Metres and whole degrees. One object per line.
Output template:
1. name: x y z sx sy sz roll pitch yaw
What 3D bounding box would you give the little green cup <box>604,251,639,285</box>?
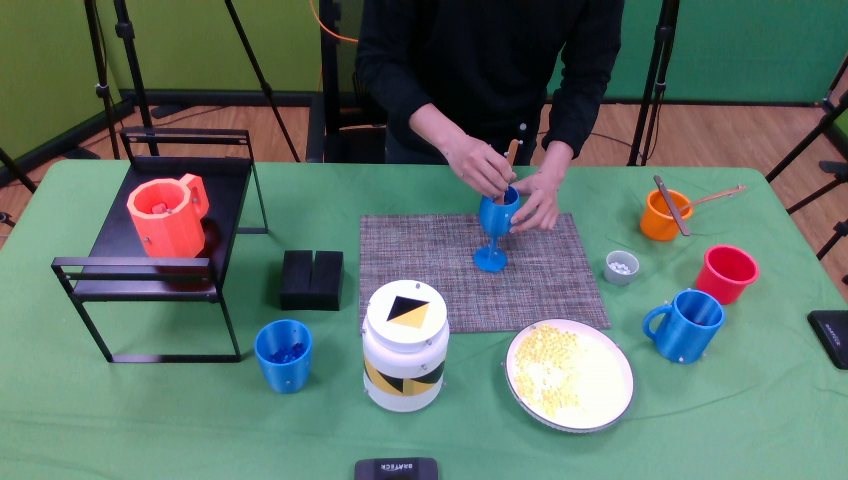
1. little green cup: 0.375 0.055 1.161 0.061 0.039 0.061 3 46 -2

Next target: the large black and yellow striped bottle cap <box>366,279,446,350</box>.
1. large black and yellow striped bottle cap: -0.025 0.104 0.864 0.115 0.019 0.114 3 48 -3

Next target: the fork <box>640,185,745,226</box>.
1. fork: 0.534 -0.069 1.215 0.207 0.019 0.028 -26 27 33

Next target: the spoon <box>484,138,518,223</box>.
1. spoon: 0.134 -0.097 1.033 0.041 0.194 0.021 20 45 12

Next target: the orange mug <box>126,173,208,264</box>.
1. orange mug: -0.371 -0.039 0.902 0.083 0.101 0.126 18 52 13

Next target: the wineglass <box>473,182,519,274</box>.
1. wineglass: 0.131 -0.022 1.117 0.074 0.173 0.073 2 46 -2

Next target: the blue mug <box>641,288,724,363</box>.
1. blue mug: 0.432 0.144 1.033 0.116 0.106 0.082 8 46 4

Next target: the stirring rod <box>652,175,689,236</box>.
1. stirring rod: 0.491 -0.072 1.212 0.014 0.006 0.175 -1 47 -5

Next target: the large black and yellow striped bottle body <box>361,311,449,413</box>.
1. large black and yellow striped bottle body: -0.031 0.163 0.924 0.131 0.185 0.130 2 46 -2

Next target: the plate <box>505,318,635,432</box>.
1. plate: 0.235 0.221 0.991 0.209 0.038 0.208 2 45 -2

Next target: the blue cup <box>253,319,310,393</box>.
1. blue cup: -0.217 0.187 0.943 0.093 0.101 0.092 4 45 -3
